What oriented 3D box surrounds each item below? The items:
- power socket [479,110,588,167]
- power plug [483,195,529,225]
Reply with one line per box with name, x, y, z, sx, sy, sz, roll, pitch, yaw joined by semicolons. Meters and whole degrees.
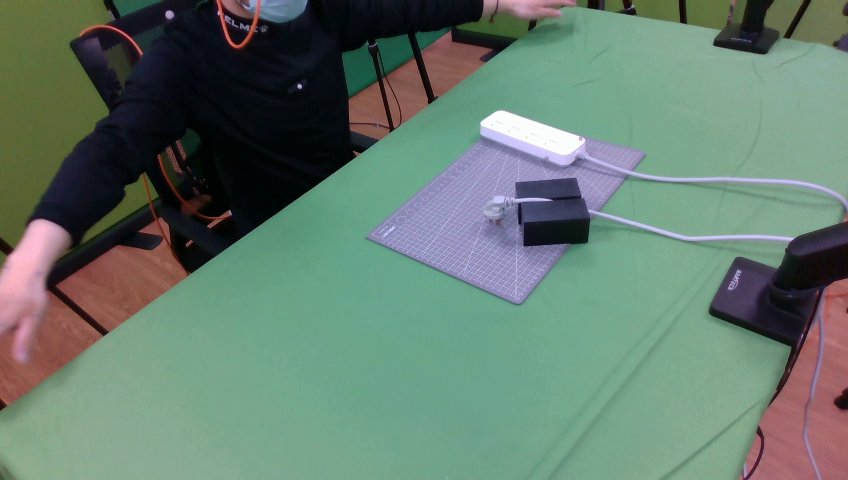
power socket;0.203;-0.197;1.157;0.225;0.033;0.072;29;53;34
power plug;0.129;-0.044;0.969;0.072;0.053;0.035;14;49;26
